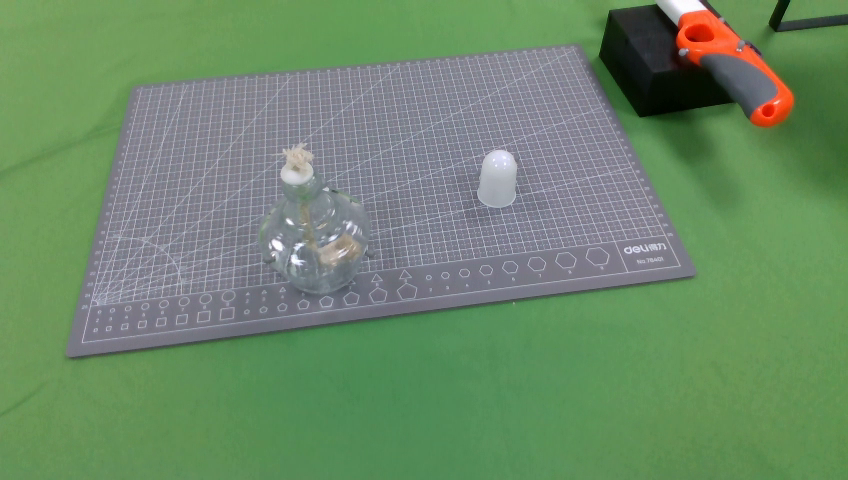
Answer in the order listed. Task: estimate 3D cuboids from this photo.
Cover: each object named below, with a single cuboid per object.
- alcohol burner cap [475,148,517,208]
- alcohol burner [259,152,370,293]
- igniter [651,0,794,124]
[{"bbox_3d":[0.059,-0.052,0.484,0.034,0.048,0.033,0,51,0],"label":"alcohol burner cap"},{"bbox_3d":[-0.077,-0.016,0.412,0.078,0.120,0.077,-1,54,1],"label":"alcohol burner"},{"bbox_3d":[0.244,-0.194,0.545,0.057,0.025,0.273,-12,50,-5],"label":"igniter"}]
